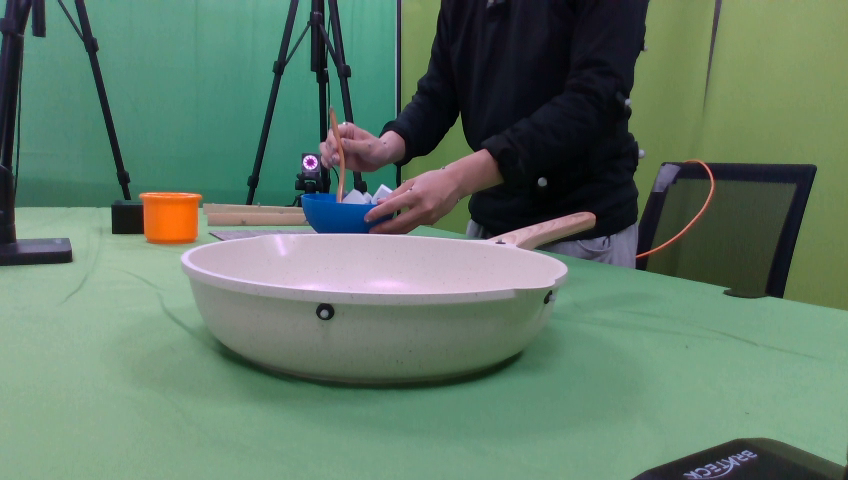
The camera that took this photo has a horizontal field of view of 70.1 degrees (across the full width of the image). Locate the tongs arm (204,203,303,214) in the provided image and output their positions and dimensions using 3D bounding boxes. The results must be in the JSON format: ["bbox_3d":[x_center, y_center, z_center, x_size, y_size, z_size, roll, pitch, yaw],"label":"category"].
[{"bbox_3d":[-0.295,-0.062,1.370,0.386,0.026,0.050,1,9,-19],"label":"tongs arm"}]

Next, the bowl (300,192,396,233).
[{"bbox_3d":[-0.122,-0.030,0.957,0.151,0.077,0.151,4,9,0],"label":"bowl"}]

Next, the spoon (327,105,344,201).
[{"bbox_3d":[-0.135,-0.119,0.961,0.021,0.193,0.041,-5,-1,2],"label":"spoon"}]

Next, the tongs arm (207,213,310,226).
[{"bbox_3d":[-0.264,-0.046,1.297,0.390,0.028,0.028,-2,7,-32],"label":"tongs arm"}]

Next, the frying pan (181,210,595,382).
[{"bbox_3d":[0.035,0.019,0.557,0.305,0.102,0.490,10,19,42],"label":"frying pan"}]
